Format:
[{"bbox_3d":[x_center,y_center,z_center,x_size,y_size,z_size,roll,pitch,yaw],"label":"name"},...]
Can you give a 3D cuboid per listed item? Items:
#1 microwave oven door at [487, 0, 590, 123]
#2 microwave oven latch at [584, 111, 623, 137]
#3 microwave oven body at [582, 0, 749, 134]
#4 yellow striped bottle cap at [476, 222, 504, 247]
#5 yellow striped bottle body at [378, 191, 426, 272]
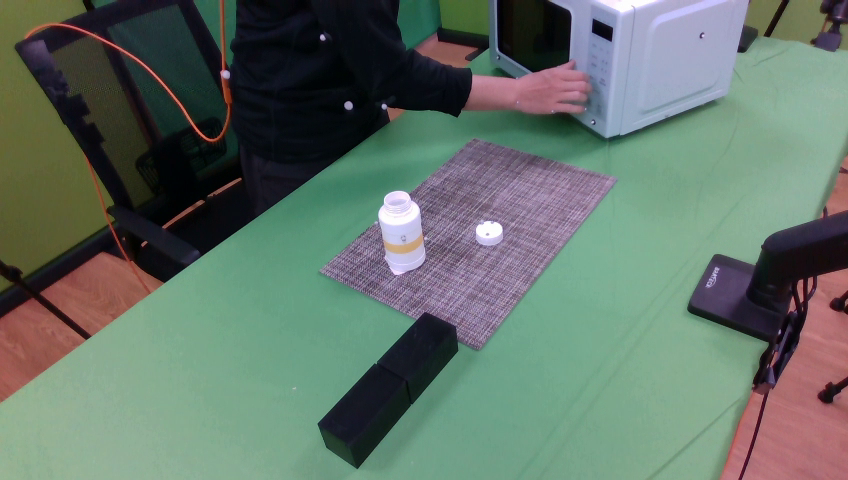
[{"bbox_3d":[0.231,-0.420,1.230,0.039,0.245,0.352,-22,43,-16],"label":"microwave oven door"},{"bbox_3d":[0.337,-0.222,1.142,0.030,0.029,0.078,-20,42,-14],"label":"microwave oven latch"},{"bbox_3d":[0.381,-0.444,1.246,0.327,0.261,0.437,-22,42,-16],"label":"microwave oven body"},{"bbox_3d":[0.105,-0.010,0.966,0.044,0.019,0.044,-4,39,3],"label":"yellow striped bottle cap"},{"bbox_3d":[-0.034,-0.015,0.910,0.063,0.121,0.062,-4,41,4],"label":"yellow striped bottle body"}]
